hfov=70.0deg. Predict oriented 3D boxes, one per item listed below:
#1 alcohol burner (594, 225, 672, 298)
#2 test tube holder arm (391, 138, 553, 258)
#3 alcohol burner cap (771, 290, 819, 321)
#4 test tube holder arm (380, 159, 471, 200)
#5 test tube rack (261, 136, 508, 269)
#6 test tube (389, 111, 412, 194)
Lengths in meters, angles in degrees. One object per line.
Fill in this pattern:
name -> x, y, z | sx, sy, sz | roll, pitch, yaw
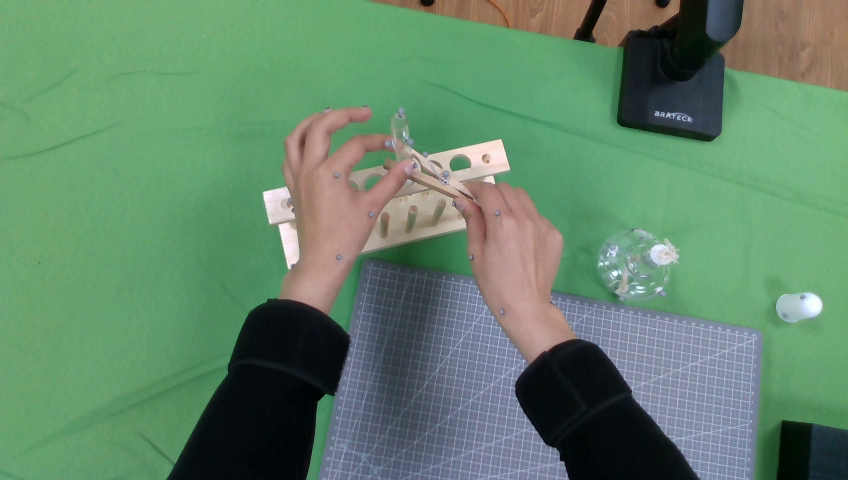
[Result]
alcohol burner -> 0.221, 0.019, 0.625 | 0.078, 0.119, 0.077 | 1, 78, -5
test tube holder arm -> 0.044, -0.039, 0.558 | 0.178, 0.015, 0.013 | 34, 84, 4
alcohol burner cap -> 0.411, 0.071, 0.666 | 0.034, 0.048, 0.033 | 1, 77, -3
test tube holder arm -> 0.002, -0.055, 0.559 | 0.088, 0.015, 0.010 | 18, 82, 2
test tube rack -> -0.035, -0.037, 0.631 | 0.242, 0.085, 0.066 | -14, 79, -7
test tube -> -0.020, -0.075, 0.557 | 0.017, 0.151, 0.017 | 0, 73, 1
